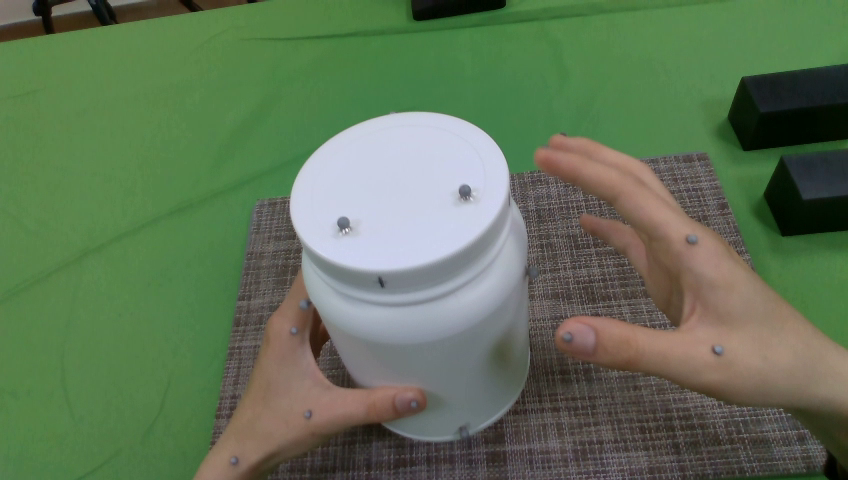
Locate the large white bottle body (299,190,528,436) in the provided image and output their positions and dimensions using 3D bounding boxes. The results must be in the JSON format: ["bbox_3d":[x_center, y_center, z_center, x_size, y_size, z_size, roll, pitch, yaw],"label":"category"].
[{"bbox_3d":[-0.001,0.030,0.383,0.130,0.186,0.129,-5,50,6],"label":"large white bottle body"}]

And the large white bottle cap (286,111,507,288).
[{"bbox_3d":[-0.014,-0.025,0.315,0.115,0.018,0.113,-5,50,7],"label":"large white bottle cap"}]
